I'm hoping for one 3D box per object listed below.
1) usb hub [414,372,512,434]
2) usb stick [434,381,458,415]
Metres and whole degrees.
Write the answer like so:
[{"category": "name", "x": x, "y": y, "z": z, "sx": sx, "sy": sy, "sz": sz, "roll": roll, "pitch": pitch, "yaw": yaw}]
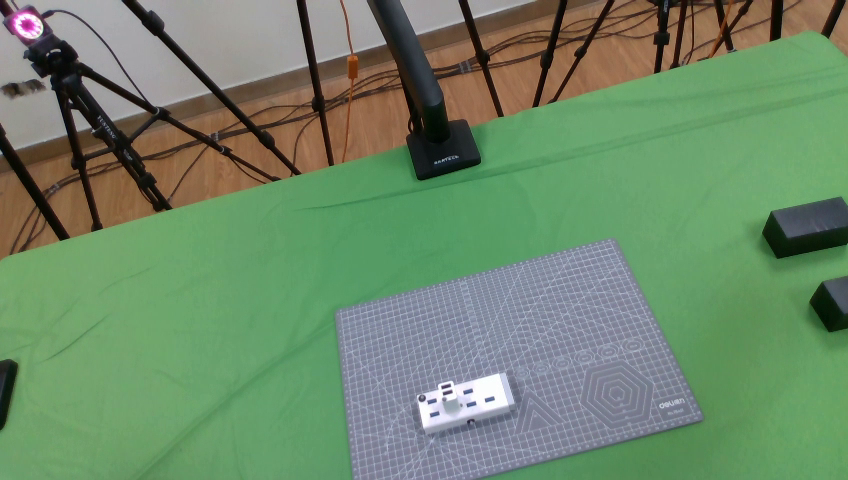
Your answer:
[{"category": "usb hub", "x": 0.051, "y": 0.216, "z": 0.808, "sx": 0.125, "sy": 0.025, "sz": 0.049, "roll": -15, "pitch": 52, "yaw": 0}, {"category": "usb stick", "x": 0.030, "y": 0.207, "z": 0.783, "sx": 0.021, "sy": 0.060, "sz": 0.027, "roll": -18, "pitch": 50, "yaw": -1}]
